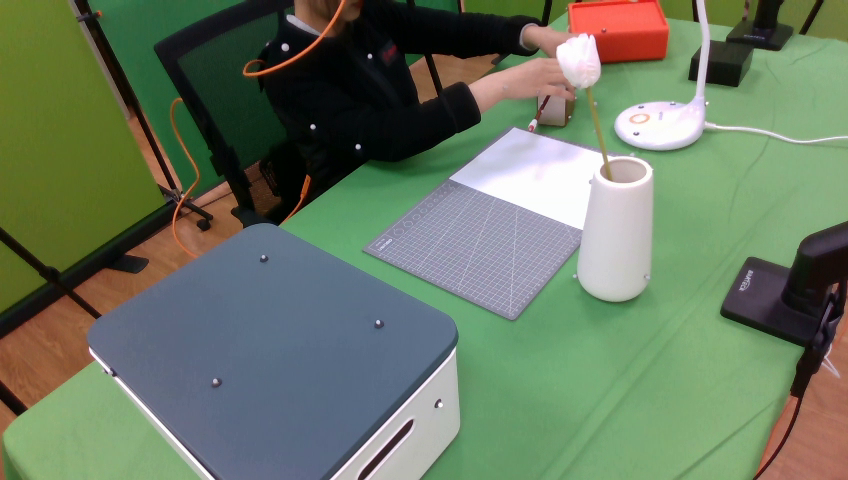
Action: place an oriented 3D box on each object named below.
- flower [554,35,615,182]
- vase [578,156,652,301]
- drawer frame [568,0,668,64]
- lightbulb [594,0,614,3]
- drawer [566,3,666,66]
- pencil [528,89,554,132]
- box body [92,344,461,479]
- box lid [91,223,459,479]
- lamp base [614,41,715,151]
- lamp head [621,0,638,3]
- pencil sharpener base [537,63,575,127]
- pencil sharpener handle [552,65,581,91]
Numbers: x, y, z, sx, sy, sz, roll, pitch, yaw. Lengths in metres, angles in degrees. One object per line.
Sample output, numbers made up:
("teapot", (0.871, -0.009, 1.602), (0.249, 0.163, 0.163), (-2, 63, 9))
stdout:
("flower", (0.237, -0.083, 0.774), (0.044, 0.363, 0.038), (-22, 26, 7))
("vase", (0.261, -0.011, 0.812), (0.098, 0.201, 0.097), (-4, 40, 4))
("drawer frame", (0.450, -0.495, 1.441), (0.213, 0.083, 0.201), (-1, 40, 9))
("lightbulb", (0.305, -0.437, 0.977), (0.060, 0.107, 0.059), (12, 44, -11))
("drawer", (0.448, -0.493, 1.441), (0.211, 0.073, 0.194), (0, 40, 10))
("pencil", (0.229, -0.259, 1.144), (0.012, 0.012, 0.194), (11, 46, 23))
("box body", (-0.162, 0.170, 0.708), (0.361, 0.161, 0.255), (25, 50, 34))
("box lid", (-0.174, 0.103, 0.666), (0.368, 0.015, 0.264), (24, 49, 35))
("lamp base", (0.449, -0.277, 1.106), (0.179, 0.181, 0.160), (1, 41, 9))
("lamp head", (0.319, -0.453, 0.962), (0.113, 0.123, 0.112), (20, 33, -13))
("pencil sharpener base", (0.267, -0.292, 1.216), (0.061, 0.107, 0.076), (10, 43, 22))
("pencil sharpener handle", (0.295, -0.335, 1.236), (0.036, 0.068, 0.030), (-36, 17, 46))
